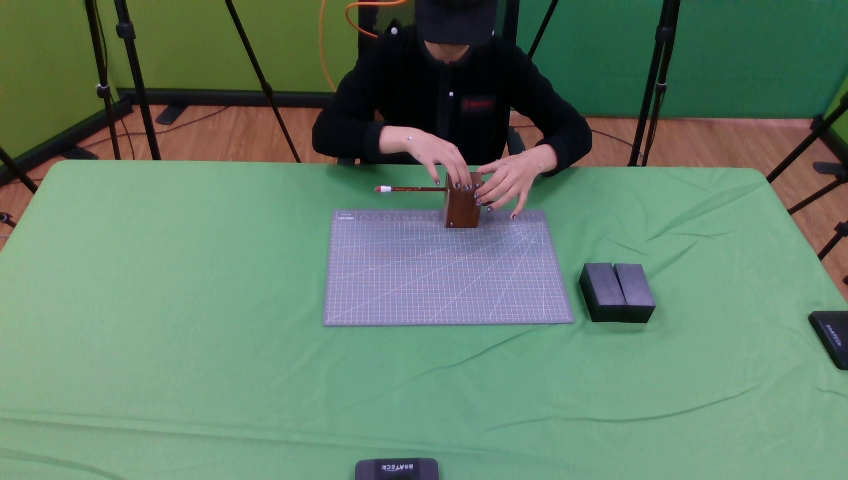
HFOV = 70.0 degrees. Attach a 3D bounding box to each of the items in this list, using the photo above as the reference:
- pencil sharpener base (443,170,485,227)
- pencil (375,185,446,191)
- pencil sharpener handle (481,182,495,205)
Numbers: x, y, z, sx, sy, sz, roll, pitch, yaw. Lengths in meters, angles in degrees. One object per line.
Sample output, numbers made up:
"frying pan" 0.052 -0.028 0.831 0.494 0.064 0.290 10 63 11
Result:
"pencil sharpener base" 0.080 -0.082 1.220 0.077 0.107 0.061 1 46 -4
"pencil" 0.001 -0.101 1.196 0.194 0.012 0.012 0 46 -4
"pencil sharpener handle" 0.132 -0.093 1.217 0.031 0.068 0.036 1 59 -4
